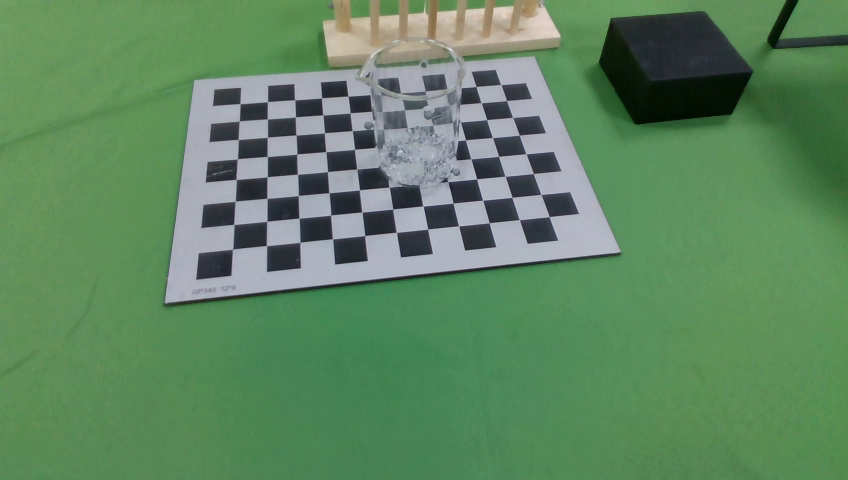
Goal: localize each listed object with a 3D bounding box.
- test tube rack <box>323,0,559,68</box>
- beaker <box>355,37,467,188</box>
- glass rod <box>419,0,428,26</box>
[{"bbox_3d":[0.018,-0.241,0.615,0.243,0.086,0.066,-7,52,-7],"label":"test tube rack"},{"bbox_3d":[-0.009,-0.098,0.487,0.084,0.101,0.073,-6,51,-5],"label":"beaker"},{"bbox_3d":[0.010,-0.290,0.569,0.008,0.201,0.008,5,53,-6],"label":"glass rod"}]
